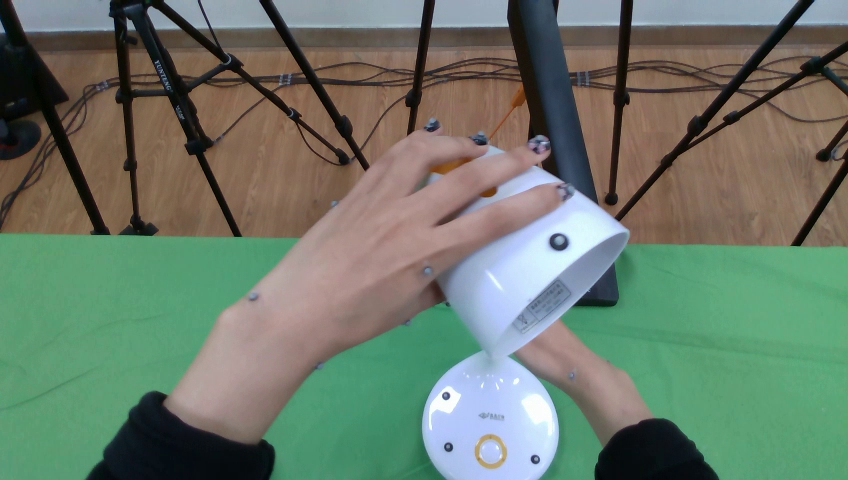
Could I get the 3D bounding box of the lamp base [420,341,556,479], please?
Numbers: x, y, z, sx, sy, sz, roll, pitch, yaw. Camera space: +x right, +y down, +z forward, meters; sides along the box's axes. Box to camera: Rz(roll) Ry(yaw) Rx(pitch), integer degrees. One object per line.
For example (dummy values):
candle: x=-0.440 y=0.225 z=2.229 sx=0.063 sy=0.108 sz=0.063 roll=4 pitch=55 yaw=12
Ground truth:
lamp base: x=0.070 y=0.155 z=0.659 sx=0.161 sy=0.182 sz=0.177 roll=-5 pitch=54 yaw=0

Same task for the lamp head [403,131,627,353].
lamp head: x=0.046 y=-0.007 z=0.383 sx=0.112 sy=0.113 sz=0.122 roll=-35 pitch=62 yaw=-18
